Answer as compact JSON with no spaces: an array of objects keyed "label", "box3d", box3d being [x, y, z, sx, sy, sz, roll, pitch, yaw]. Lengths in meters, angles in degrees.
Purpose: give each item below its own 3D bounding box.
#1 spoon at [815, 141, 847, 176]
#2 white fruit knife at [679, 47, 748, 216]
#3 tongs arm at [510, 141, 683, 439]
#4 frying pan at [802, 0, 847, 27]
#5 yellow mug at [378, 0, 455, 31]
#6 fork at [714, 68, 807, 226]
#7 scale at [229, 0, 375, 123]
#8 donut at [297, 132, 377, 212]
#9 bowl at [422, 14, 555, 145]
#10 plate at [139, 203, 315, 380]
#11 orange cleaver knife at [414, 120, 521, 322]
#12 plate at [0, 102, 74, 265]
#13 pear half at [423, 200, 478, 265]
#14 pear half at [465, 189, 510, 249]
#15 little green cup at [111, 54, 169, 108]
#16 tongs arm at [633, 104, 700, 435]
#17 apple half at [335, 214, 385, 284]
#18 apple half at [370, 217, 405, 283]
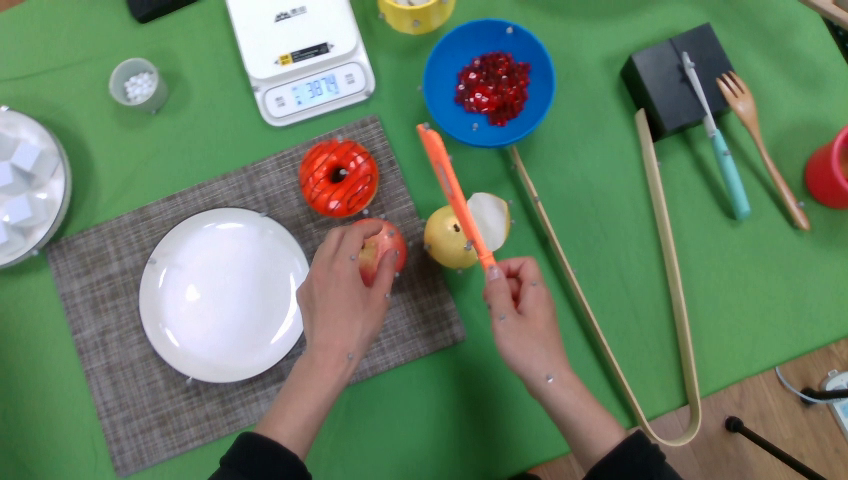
[{"label":"spoon","box3d":[0.502,-0.056,0.648,0.041,0.022,0.191,-27,38,-1]},{"label":"white fruit knife","box3d":[0.332,-0.123,0.697,0.016,0.027,0.208,-24,97,0]},{"label":"tongs arm","box3d":[0.197,0.052,0.706,0.051,0.026,0.383,-21,83,-5]},{"label":"frying pan","box3d":[0.300,-0.390,0.719,0.485,0.103,0.306,41,88,15]},{"label":"yellow mug","box3d":[-0.024,-0.328,0.748,0.130,0.064,0.100,35,86,7]},{"label":"fork","box3d":[0.392,-0.105,0.700,0.028,0.018,0.208,-31,98,-3]},{"label":"scale","box3d":[-0.157,-0.260,0.764,0.148,0.031,0.200,-18,83,1]},{"label":"donut","box3d":[-0.105,-0.081,0.729,0.099,0.048,0.099,0,84,5]},{"label":"bowl","box3d":[0.074,-0.178,0.719,0.151,0.077,0.151,0,84,3]},{"label":"plate","box3d":[-0.230,0.060,0.722,0.209,0.038,0.208,0,83,3]},{"label":"orange cleaver knife","box3d":[0.040,-0.019,0.583,0.012,0.077,0.212,-27,100,-4]},{"label":"plate","box3d":[-0.535,-0.068,0.758,0.207,0.039,0.207,0,83,3]},{"label":"pear half","box3d":[0.027,-0.007,0.684,0.056,0.110,0.076,-28,78,-1]},{"label":"pear half","box3d":[0.080,-0.030,0.705,0.031,0.088,0.070,-25,78,-34]},{"label":"little green cup","box3d":[-0.355,-0.197,0.764,0.061,0.039,0.061,0,83,3]},{"label":"tongs arm","box3d":[0.280,0.028,0.710,0.028,0.028,0.386,-6,83,-6]},{"label":"apple half","box3d":[-0.075,0.008,0.703,0.053,0.075,0.080,11,87,8]},{"label":"apple half","box3d":[-0.037,0.015,0.698,0.033,0.081,0.081,11,83,8]}]
